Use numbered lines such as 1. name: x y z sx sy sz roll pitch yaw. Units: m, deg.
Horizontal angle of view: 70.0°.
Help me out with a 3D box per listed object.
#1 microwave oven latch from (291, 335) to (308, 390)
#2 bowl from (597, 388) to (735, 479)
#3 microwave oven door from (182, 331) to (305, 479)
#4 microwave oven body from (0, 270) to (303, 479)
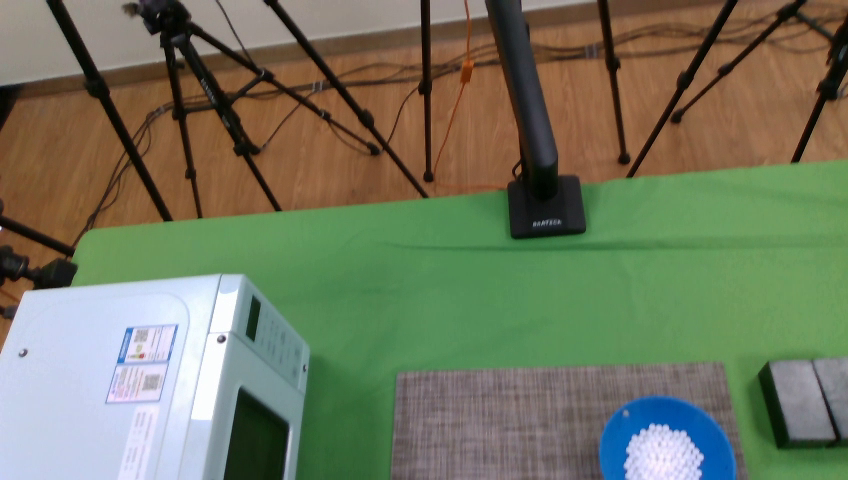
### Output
1. microwave oven latch: -0.188 0.180 0.892 0.030 0.030 0.078 -5 59 9
2. bowl: 0.284 0.263 0.730 0.151 0.077 0.150 -6 58 9
3. microwave oven door: -0.210 0.313 0.693 0.039 0.246 0.352 -6 58 9
4. microwave oven body: -0.353 0.294 0.742 0.325 0.263 0.437 -5 59 8
